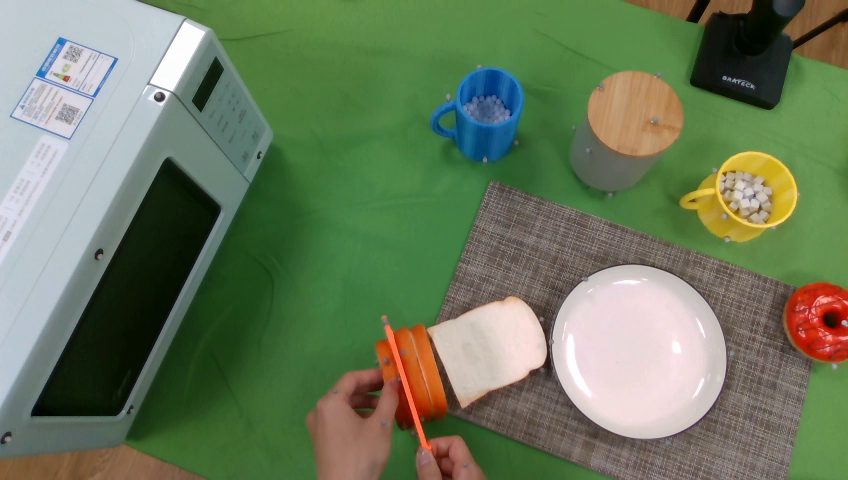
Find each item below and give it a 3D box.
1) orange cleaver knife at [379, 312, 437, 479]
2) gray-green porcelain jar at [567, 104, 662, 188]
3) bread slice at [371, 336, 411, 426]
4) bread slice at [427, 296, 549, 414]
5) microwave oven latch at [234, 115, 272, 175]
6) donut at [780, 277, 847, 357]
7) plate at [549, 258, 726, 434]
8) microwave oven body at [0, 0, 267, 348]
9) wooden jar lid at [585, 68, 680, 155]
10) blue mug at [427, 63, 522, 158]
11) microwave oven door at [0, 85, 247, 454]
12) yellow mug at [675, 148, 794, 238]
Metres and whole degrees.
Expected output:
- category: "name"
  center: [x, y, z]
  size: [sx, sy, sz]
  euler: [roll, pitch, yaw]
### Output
- category: "orange cleaver knife"
  center: [-0.014, 0.176, 0.628]
  size: [0.012, 0.077, 0.211]
  euler: [-17, 88, -6]
- category: "gray-green porcelain jar"
  center: [0.240, -0.129, 0.759]
  size: [0.106, 0.127, 0.105]
  euler: [0, 75, 1]
- category: "bread slice"
  center: [-0.038, 0.156, 0.689]
  size: [0.018, 0.135, 0.106]
  euler: [-18, 75, -6]
- category: "bread slice"
  center: [0.085, 0.134, 0.737]
  size: [0.131, 0.019, 0.104]
  euler: [-29, 85, -6]
- category: "microwave oven latch"
  center: [-0.227, -0.127, 0.791]
  size: [0.030, 0.029, 0.079]
  euler: [24, 78, 7]
- category: "donut"
  center: [0.484, 0.093, 0.735]
  size: [0.099, 0.048, 0.098]
  euler: [0, 76, 1]
- category: "plate"
  center: [0.253, 0.126, 0.734]
  size: [0.208, 0.039, 0.206]
  euler: [0, 76, 1]
- category: "microwave oven body"
  center: [-0.432, -0.044, 0.673]
  size: [0.325, 0.261, 0.440]
  euler: [21, 77, 6]
- category: "wooden jar lid"
  center: [0.238, -0.146, 0.699]
  size: [0.108, 0.021, 0.107]
  euler: [0, 73, 1]
- category: "blue mug"
  center: [0.062, -0.162, 0.781]
  size: [0.116, 0.106, 0.082]
  euler: [-5, 75, 0]
- category: "microwave oven door"
  center: [-0.313, 0.044, 0.644]
  size: [0.039, 0.245, 0.354]
  euler: [20, 76, 6]
- category: "yellow mug"
  center: [0.387, -0.058, 0.769]
  size: [0.131, 0.064, 0.099]
  euler: [-3, 75, 1]
